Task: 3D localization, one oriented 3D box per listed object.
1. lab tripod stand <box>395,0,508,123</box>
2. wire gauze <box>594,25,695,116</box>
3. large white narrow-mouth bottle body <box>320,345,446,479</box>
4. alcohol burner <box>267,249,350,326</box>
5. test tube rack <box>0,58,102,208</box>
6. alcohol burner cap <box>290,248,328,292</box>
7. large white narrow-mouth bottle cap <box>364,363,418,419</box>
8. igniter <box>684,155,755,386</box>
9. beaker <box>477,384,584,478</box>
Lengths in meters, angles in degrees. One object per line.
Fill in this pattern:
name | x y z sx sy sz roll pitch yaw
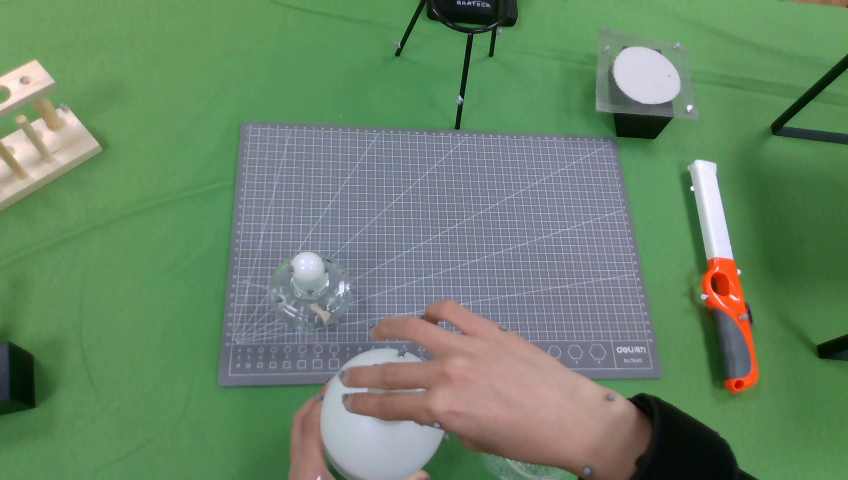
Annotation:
lab tripod stand | 0.039 -0.232 0.698 0.149 0.132 0.147 4 67 -9
wire gauze | 0.265 -0.205 0.736 0.121 0.011 0.124 8 66 -5
large white narrow-mouth bottle body | -0.034 0.140 0.495 0.102 0.195 0.101 3 66 -6
alcohol burner | -0.108 0.038 0.568 0.078 0.119 0.077 4 65 -9
test tube rack | -0.451 -0.068 0.580 0.242 0.085 0.066 -39 77 -21
alcohol burner cap | -0.103 0.025 0.535 0.034 0.048 0.033 2 71 -4
large white narrow-mouth bottle cap | -0.024 0.104 0.417 0.038 0.024 0.037 3 66 -7
igniter | 0.334 0.028 0.689 0.057 0.025 0.274 8 66 -17
beaker | 0.088 0.177 0.550 0.084 0.101 0.073 6 65 -5
